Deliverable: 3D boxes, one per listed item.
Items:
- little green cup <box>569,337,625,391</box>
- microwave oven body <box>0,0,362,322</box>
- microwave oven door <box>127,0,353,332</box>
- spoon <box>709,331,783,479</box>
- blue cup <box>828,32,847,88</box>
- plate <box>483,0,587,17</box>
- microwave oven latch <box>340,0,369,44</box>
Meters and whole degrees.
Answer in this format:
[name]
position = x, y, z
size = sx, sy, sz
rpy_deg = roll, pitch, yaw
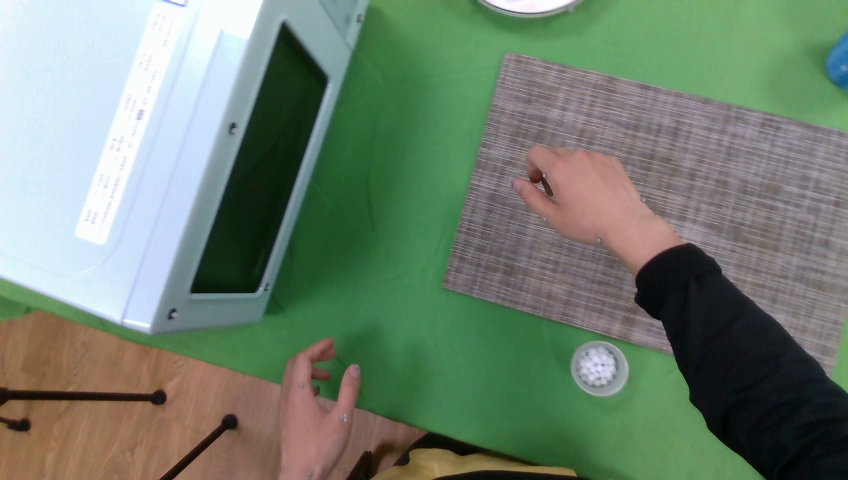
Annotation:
[little green cup]
position = 0.196, 0.141, 0.696
size = 0.061, 0.039, 0.061
rpy_deg = -1, 84, 6
[microwave oven body]
position = -0.295, -0.169, 0.657
size = 0.325, 0.261, 0.441
rpy_deg = 19, 89, 7
[microwave oven door]
position = -0.174, -0.083, 0.632
size = 0.039, 0.244, 0.355
rpy_deg = 19, 88, 8
[spoon]
position = 0.366, 0.194, 0.679
size = 0.042, 0.021, 0.193
rpy_deg = -20, 86, -11
[blue cup]
position = 0.493, -0.206, 0.653
size = 0.092, 0.100, 0.092
rpy_deg = 0, 88, 7
[plate]
position = 0.137, -0.368, 0.736
size = 0.207, 0.039, 0.207
rpy_deg = 0, 86, 7
[microwave oven latch]
position = -0.087, -0.283, 0.737
size = 0.030, 0.029, 0.079
rpy_deg = 23, 90, 7
